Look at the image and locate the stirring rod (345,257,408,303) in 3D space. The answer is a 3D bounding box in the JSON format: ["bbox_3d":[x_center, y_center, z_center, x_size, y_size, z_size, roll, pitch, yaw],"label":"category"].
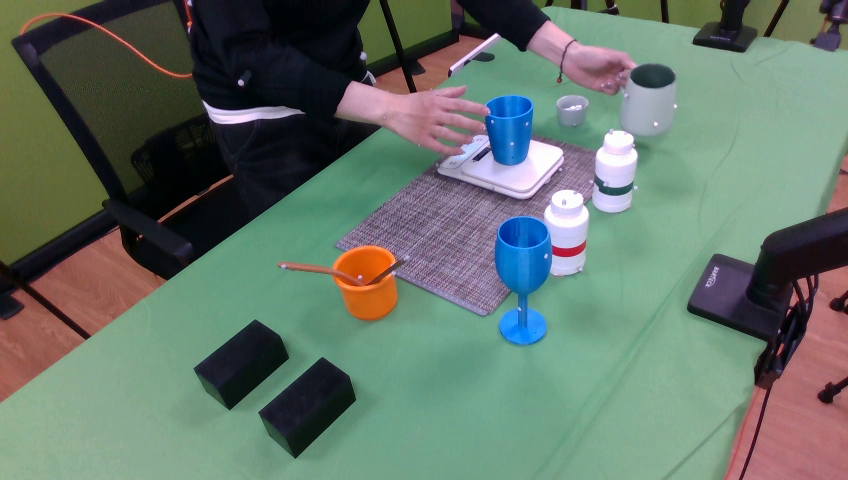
[{"bbox_3d":[-0.067,0.057,0.814,0.014,0.175,0.006,-23,81,-38],"label":"stirring rod"}]

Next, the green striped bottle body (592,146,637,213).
[{"bbox_3d":[0.307,-0.108,0.976,0.063,0.120,0.063,-4,41,4],"label":"green striped bottle body"}]

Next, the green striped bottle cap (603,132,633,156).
[{"bbox_3d":[0.302,-0.149,0.939,0.044,0.020,0.044,-3,41,3],"label":"green striped bottle cap"}]

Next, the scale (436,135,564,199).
[{"bbox_3d":[0.137,-0.142,1.101,0.199,0.032,0.149,22,48,30],"label":"scale"}]

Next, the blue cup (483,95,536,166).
[{"bbox_3d":[0.148,-0.187,1.053,0.092,0.100,0.092,-5,39,5],"label":"blue cup"}]

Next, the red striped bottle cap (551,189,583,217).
[{"bbox_3d":[0.200,-0.052,0.843,0.044,0.018,0.044,-2,43,2],"label":"red striped bottle cap"}]

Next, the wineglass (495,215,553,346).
[{"bbox_3d":[0.127,0.054,0.770,0.074,0.173,0.073,-4,40,4],"label":"wineglass"}]

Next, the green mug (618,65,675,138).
[{"bbox_3d":[0.387,-0.253,1.076,0.093,0.105,0.124,-20,48,-9],"label":"green mug"}]

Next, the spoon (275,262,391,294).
[{"bbox_3d":[-0.120,0.050,0.830,0.041,0.195,0.021,31,97,45],"label":"spoon"}]

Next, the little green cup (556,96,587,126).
[{"bbox_3d":[0.295,-0.258,1.214,0.061,0.039,0.061,-5,41,5],"label":"little green cup"}]

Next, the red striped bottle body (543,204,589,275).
[{"bbox_3d":[0.206,-0.011,0.877,0.063,0.120,0.062,-5,41,4],"label":"red striped bottle body"}]
